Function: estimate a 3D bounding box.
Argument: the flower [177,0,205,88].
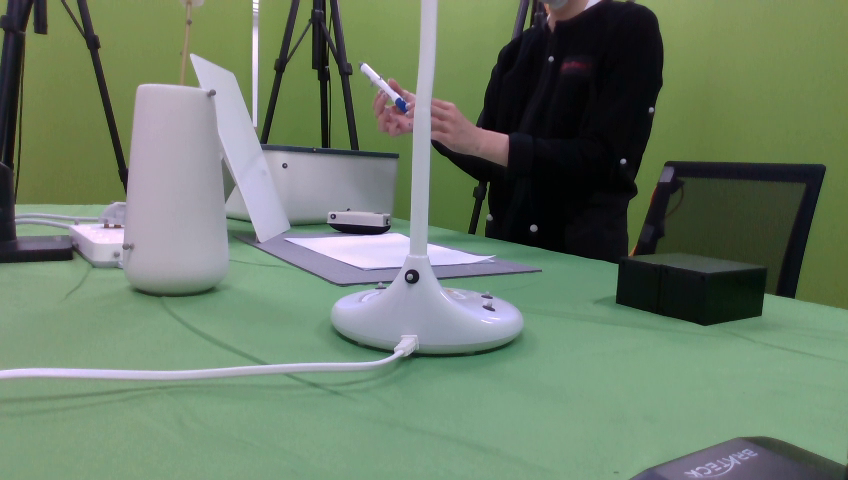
[{"bbox_3d":[-0.243,-0.131,0.609,0.044,0.361,0.038,-5,-12,11],"label":"flower"}]

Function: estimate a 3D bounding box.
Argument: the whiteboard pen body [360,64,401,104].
[{"bbox_3d":[-0.069,-0.268,1.059,0.017,0.017,0.140,-6,45,-48],"label":"whiteboard pen body"}]

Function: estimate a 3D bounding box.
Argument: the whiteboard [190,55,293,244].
[{"bbox_3d":[-0.362,-0.129,1.029,0.144,0.305,0.217,-18,7,3],"label":"whiteboard"}]

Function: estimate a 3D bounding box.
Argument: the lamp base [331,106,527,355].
[{"bbox_3d":[0.006,-0.012,0.478,0.161,0.180,0.179,2,10,2],"label":"lamp base"}]

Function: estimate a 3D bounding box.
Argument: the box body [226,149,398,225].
[{"bbox_3d":[-0.265,-0.129,1.380,0.253,0.160,0.366,8,9,39],"label":"box body"}]

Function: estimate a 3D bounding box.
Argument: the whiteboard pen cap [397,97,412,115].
[{"bbox_3d":[-0.034,-0.229,1.032,0.018,0.018,0.033,-5,47,-45],"label":"whiteboard pen cap"}]

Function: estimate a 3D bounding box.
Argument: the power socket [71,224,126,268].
[{"bbox_3d":[-0.409,0.004,0.793,0.072,0.032,0.225,-2,8,-37],"label":"power socket"}]

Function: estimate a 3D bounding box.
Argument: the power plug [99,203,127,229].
[{"bbox_3d":[-0.415,-0.026,0.848,0.073,0.052,0.035,6,5,-28],"label":"power plug"}]

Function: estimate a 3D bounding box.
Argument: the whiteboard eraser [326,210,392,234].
[{"bbox_3d":[-0.121,-0.034,1.131,0.112,0.042,0.056,4,8,13],"label":"whiteboard eraser"}]

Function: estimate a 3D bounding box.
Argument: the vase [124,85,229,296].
[{"bbox_3d":[-0.244,-0.047,0.598,0.098,0.200,0.098,3,8,0],"label":"vase"}]

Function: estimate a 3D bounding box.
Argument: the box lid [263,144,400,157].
[{"bbox_3d":[-0.263,-0.203,1.369,0.262,0.015,0.373,9,10,39],"label":"box lid"}]
